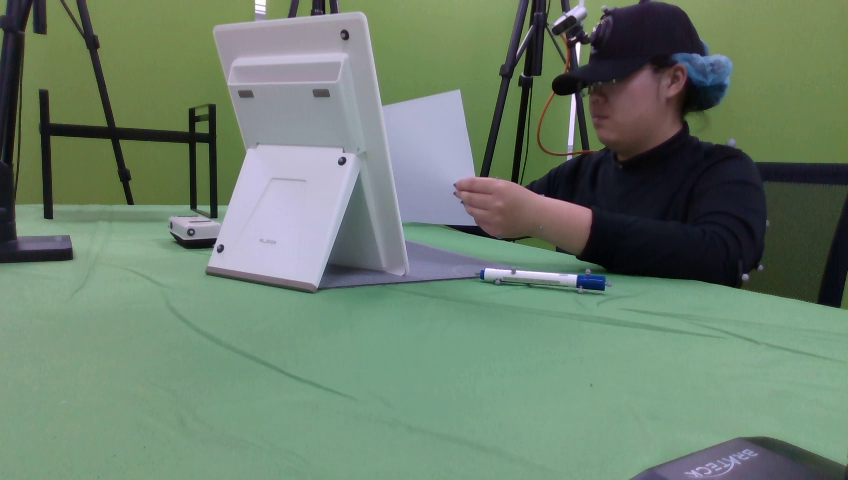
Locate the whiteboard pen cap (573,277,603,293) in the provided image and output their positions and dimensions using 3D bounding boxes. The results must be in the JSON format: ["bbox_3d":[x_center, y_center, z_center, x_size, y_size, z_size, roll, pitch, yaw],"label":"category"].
[{"bbox_3d":[0.186,0.051,0.687,0.033,0.018,0.018,4,8,17],"label":"whiteboard pen cap"}]

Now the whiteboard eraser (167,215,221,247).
[{"bbox_3d":[-0.350,-0.014,0.920,0.056,0.042,0.112,0,7,-35],"label":"whiteboard eraser"}]

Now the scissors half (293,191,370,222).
[{"bbox_3d":[-0.205,-0.077,1.338,0.175,0.040,0.013,21,21,-7],"label":"scissors half"}]

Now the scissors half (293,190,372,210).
[{"bbox_3d":[-0.201,-0.094,1.330,0.175,0.040,0.013,7,28,-1],"label":"scissors half"}]

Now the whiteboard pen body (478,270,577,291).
[{"bbox_3d":[0.132,0.048,0.706,0.140,0.017,0.017,4,8,18],"label":"whiteboard pen body"}]

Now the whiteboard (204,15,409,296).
[{"bbox_3d":[-0.166,-0.072,0.669,0.216,0.305,0.144,8,30,30],"label":"whiteboard"}]
